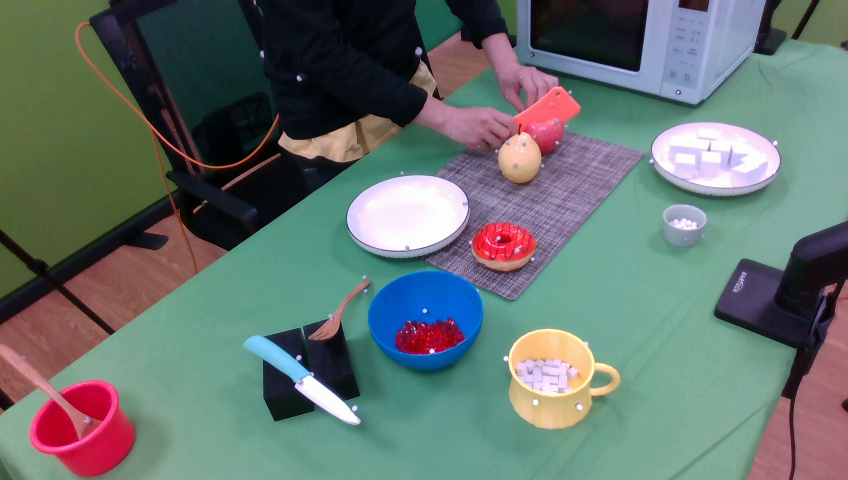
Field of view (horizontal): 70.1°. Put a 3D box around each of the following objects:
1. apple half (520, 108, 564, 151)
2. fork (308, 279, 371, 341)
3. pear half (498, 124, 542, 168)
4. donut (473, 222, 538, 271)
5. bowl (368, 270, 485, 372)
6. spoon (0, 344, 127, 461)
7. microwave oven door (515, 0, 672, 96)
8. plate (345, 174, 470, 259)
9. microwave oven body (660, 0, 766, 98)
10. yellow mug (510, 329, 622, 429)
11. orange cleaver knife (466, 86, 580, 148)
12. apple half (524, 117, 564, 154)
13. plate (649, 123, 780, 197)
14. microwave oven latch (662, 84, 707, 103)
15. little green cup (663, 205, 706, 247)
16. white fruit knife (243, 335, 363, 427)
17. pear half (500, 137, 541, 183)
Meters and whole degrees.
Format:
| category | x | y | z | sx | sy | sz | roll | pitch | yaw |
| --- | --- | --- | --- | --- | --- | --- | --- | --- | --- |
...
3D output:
| category | x | y | z | sx | sy | sz | roll | pitch | yaw |
| --- | --- | --- | --- | --- | --- | --- | --- | --- | --- |
| apple half | 0.222 | -0.213 | 1.145 | 0.080 | 0.075 | 0.053 | -12 | 37 | 9 |
| fork | -0.109 | 0.093 | 0.832 | 0.028 | 0.018 | 0.207 | -4 | 19 | 15 |
| pear half | 0.169 | -0.163 | 1.068 | 0.076 | 0.110 | 0.055 | -3 | 41 | 0 |
| donut | 0.123 | 0.009 | 0.923 | 0.099 | 0.048 | 0.098 | -3 | 38 | 3 |
| bowl | 0.007 | 0.118 | 0.791 | 0.151 | 0.077 | 0.150 | -5 | 40 | 4 |
| spoon | -0.433 | 0.191 | 0.721 | 0.194 | 0.021 | 0.042 | 47 | 53 | -6 |
| microwave oven door | 0.343 | -0.455 | 1.259 | 0.353 | 0.245 | 0.039 | 26 | 51 | 33 |
| plate | -0.026 | -0.037 | 1.004 | 0.209 | 0.038 | 0.208 | -4 | 40 | 4 |
| microwave oven body | 0.472 | -0.513 | 1.317 | 0.438 | 0.261 | 0.327 | 26 | 51 | 34 |
| yellow mug | 0.168 | 0.164 | 0.721 | 0.130 | 0.064 | 0.099 | 0 | 40 | 8 |
| orange cleaver knife | 0.180 | -0.210 | 1.112 | 0.211 | 0.078 | 0.012 | -26 | 35 | 18 |
| apple half | 0.224 | -0.185 | 1.112 | 0.081 | 0.081 | 0.032 | -8 | 42 | -1 |
| plate | 0.497 | -0.135 | 1.046 | 0.207 | 0.039 | 0.206 | -4 | 40 | 4 |
| microwave oven latch | 0.517 | -0.296 | 1.204 | 0.078 | 0.029 | 0.030 | 27 | 52 | 35 |
| little green cup | 0.396 | -0.020 | 0.926 | 0.061 | 0.039 | 0.061 | -4 | 40 | 4 |
| white fruit knife | -0.148 | 0.167 | 0.729 | 0.206 | 0.016 | 0.027 | 27 | 80 | 31 |
| pear half | 0.169 | -0.133 | 1.048 | 0.070 | 0.088 | 0.031 | -2 | 40 | -2 |
